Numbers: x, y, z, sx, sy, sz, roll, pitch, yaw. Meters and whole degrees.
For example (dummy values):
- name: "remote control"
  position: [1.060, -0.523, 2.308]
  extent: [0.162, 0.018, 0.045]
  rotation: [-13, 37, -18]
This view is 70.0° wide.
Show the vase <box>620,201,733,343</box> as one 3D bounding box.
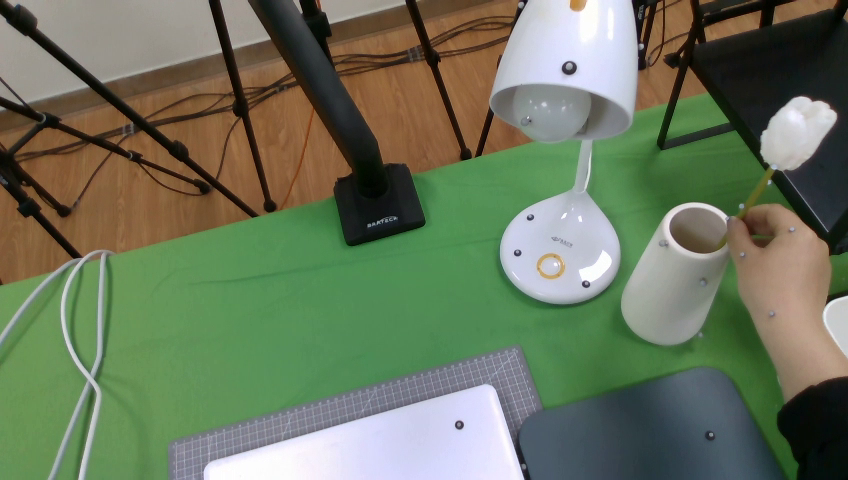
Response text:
- name: "vase"
  position: [0.282, 0.039, 0.685]
  extent: [0.098, 0.202, 0.097]
  rotation: [-4, 57, 7]

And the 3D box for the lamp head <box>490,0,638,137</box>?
- name: "lamp head"
  position: [0.118, -0.153, 0.481]
  extent: [0.112, 0.113, 0.122]
  rotation: [11, 78, 14]

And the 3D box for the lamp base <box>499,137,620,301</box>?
- name: "lamp base"
  position: [0.177, -0.041, 0.759]
  extent: [0.160, 0.182, 0.178]
  rotation: [14, 58, 16]

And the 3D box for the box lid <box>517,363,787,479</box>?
- name: "box lid"
  position: [0.270, 0.319, 0.623]
  extent: [0.263, 0.015, 0.367]
  rotation: [-15, 58, -3]

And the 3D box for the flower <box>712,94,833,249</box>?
- name: "flower"
  position: [0.290, 0.005, 0.601]
  extent: [0.044, 0.365, 0.038]
  rotation: [-7, 54, -5]

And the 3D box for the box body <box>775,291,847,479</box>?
- name: "box body"
  position: [0.543, 0.220, 0.562]
  extent: [0.254, 0.162, 0.360]
  rotation: [-13, 58, 0]

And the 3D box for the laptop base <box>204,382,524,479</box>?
- name: "laptop base"
  position: [-0.059, 0.310, 0.663]
  extent: [0.354, 0.023, 0.233]
  rotation: [-15, 62, -2]

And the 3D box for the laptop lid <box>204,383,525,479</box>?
- name: "laptop lid"
  position: [-0.060, 0.307, 0.654]
  extent: [0.357, 0.013, 0.239]
  rotation: [-14, 60, -1]
